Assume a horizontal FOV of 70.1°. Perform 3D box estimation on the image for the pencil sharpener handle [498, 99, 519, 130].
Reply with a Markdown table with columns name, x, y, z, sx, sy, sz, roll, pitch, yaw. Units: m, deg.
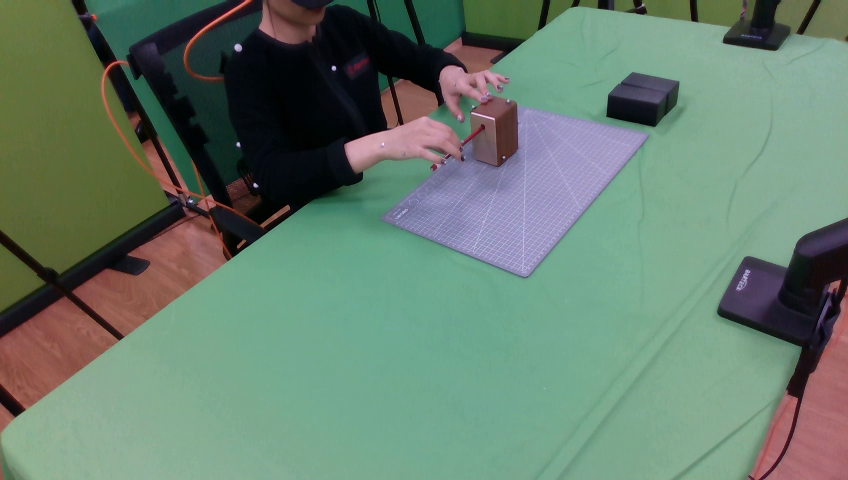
| name | x | y | z | sx | sy | sz | roll | pitch | yaw |
| --- | --- | --- | --- | --- | --- | --- | --- | --- | --- |
| pencil sharpener handle | 0.165 | -0.243 | 1.148 | 0.035 | 0.068 | 0.031 | 21 | 48 | 35 |

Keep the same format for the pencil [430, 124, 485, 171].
| name | x | y | z | sx | sy | sz | roll | pitch | yaw |
| --- | --- | --- | --- | --- | --- | --- | --- | --- | --- |
| pencil | 0.074 | -0.176 | 1.067 | 0.012 | 0.012 | 0.194 | 25 | 52 | 34 |

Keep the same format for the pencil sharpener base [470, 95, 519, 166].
| name | x | y | z | sx | sy | sz | roll | pitch | yaw |
| --- | --- | --- | --- | --- | --- | --- | --- | --- | --- |
| pencil sharpener base | 0.134 | -0.205 | 1.128 | 0.061 | 0.107 | 0.077 | 23 | 50 | 33 |
